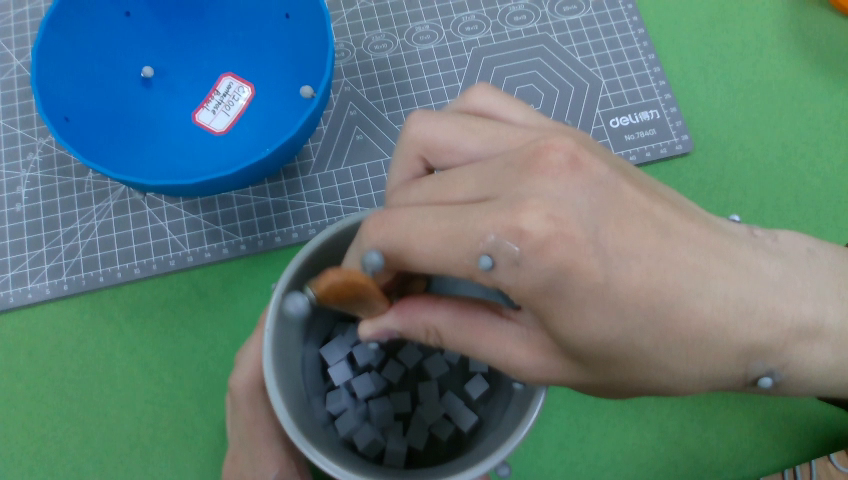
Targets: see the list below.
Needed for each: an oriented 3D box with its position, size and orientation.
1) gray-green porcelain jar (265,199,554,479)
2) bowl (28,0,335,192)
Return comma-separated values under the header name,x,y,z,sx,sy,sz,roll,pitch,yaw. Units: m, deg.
name,x,y,z,sx,sy,sz,roll,pitch,yaw
gray-green porcelain jar,-0.005,0.052,0.276,0.106,0.127,0.105,0,73,-1
bowl,-0.120,-0.087,0.337,0.151,0.077,0.150,0,73,-1
